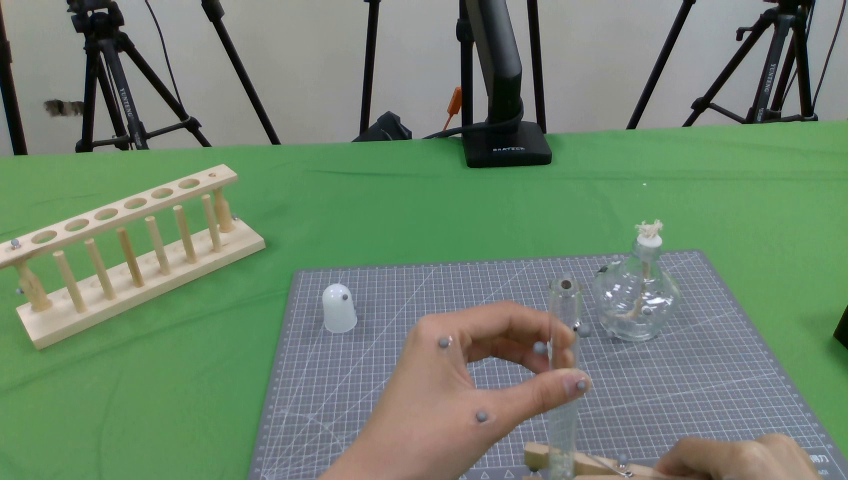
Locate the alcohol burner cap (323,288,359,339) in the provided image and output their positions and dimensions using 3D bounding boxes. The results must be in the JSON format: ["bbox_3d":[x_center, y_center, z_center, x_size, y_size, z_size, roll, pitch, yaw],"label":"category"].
[{"bbox_3d":[-0.081,0.067,0.580,0.034,0.048,0.033,-1,35,1],"label":"alcohol burner cap"}]

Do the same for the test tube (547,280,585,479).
[{"bbox_3d":[0.074,0.086,0.320,0.017,0.151,0.017,-4,31,3],"label":"test tube"}]

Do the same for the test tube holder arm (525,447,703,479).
[{"bbox_3d":[0.145,0.140,0.339,0.178,0.015,0.013,4,35,19],"label":"test tube holder arm"}]

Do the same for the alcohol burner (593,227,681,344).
[{"bbox_3d":[0.195,0.036,0.547,0.078,0.120,0.077,-1,37,1],"label":"alcohol burner"}]

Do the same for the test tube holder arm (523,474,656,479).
[{"bbox_3d":[0.101,0.142,0.345,0.088,0.015,0.010,-4,32,6],"label":"test tube holder arm"}]

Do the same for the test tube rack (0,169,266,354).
[{"bbox_3d":[-0.296,0.014,0.634,0.242,0.086,0.066,-28,42,-32],"label":"test tube rack"}]
